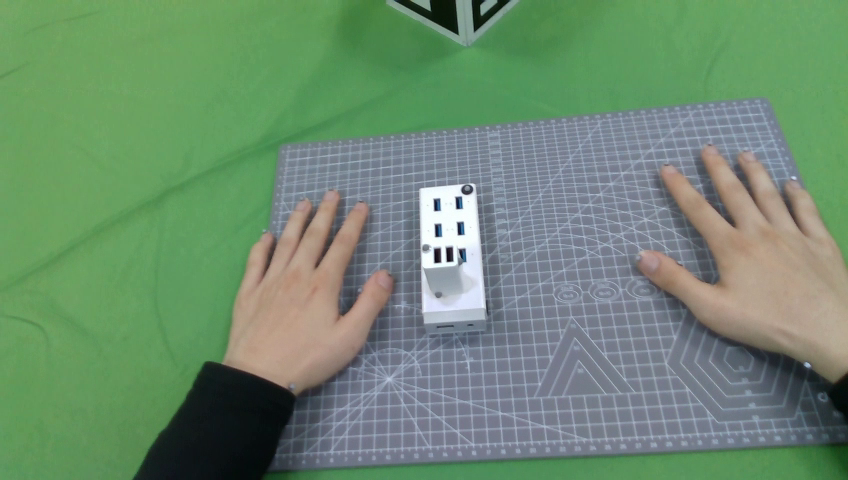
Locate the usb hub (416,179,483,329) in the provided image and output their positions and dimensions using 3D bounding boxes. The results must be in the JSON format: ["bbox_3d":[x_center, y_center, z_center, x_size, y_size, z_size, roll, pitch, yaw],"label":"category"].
[{"bbox_3d":[0.020,0.008,0.484,0.049,0.025,0.124,-4,60,4],"label":"usb hub"}]

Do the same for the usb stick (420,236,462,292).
[{"bbox_3d":[0.013,0.022,0.444,0.027,0.060,0.021,-5,58,4],"label":"usb stick"}]
